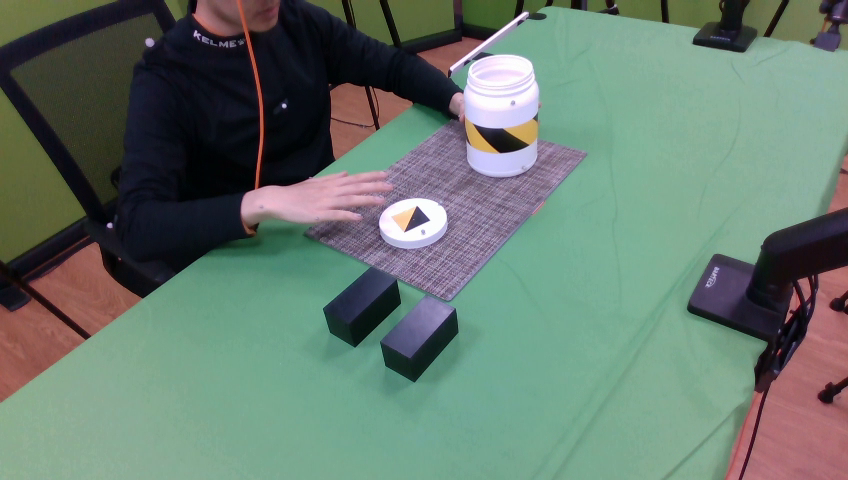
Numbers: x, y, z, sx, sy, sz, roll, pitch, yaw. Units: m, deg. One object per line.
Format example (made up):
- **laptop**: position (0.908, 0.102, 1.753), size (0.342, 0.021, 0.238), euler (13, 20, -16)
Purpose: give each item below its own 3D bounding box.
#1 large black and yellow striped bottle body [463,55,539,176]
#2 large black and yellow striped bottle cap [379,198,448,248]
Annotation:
- **large black and yellow striped bottle body**: position (0.137, -0.221, 1.074), size (0.131, 0.185, 0.130), euler (-4, 41, 4)
- **large black and yellow striped bottle cap**: position (-0.018, -0.030, 1.004), size (0.115, 0.019, 0.114), euler (-4, 40, 4)
